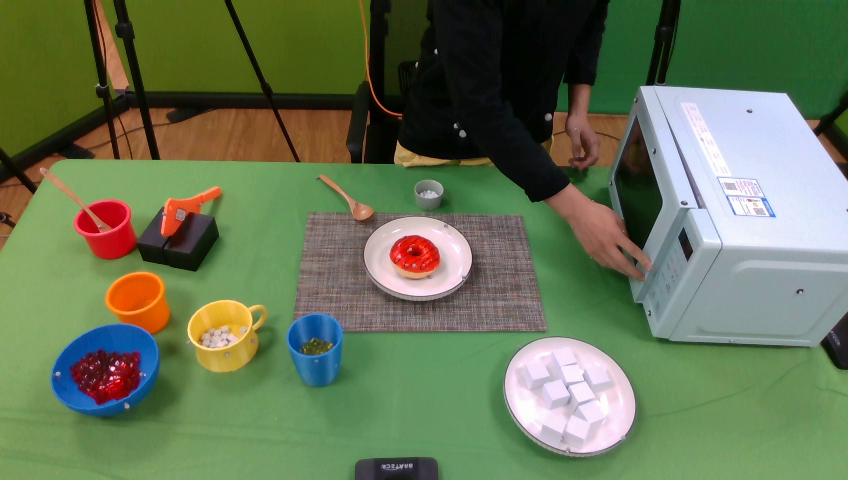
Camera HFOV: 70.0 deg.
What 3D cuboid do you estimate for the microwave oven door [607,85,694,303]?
[{"bbox_3d":[0.416,-0.094,1.141,0.039,0.245,0.353,4,46,1],"label":"microwave oven door"}]

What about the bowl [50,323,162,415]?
[{"bbox_3d":[-0.472,0.209,0.924,0.151,0.077,0.150,3,45,-2],"label":"bowl"}]

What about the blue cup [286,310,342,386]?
[{"bbox_3d":[-0.169,0.179,0.958,0.093,0.101,0.092,1,44,-1],"label":"blue cup"}]

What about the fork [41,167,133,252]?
[{"bbox_3d":[-0.624,-0.055,1.121,0.208,0.018,0.028,50,51,-15],"label":"fork"}]

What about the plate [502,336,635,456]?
[{"bbox_3d":[0.225,0.248,0.963,0.208,0.039,0.206,2,46,-2],"label":"plate"}]

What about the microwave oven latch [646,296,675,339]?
[{"bbox_3d":[0.413,0.134,1.061,0.030,0.029,0.078,4,45,1],"label":"microwave oven latch"}]

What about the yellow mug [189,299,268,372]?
[{"bbox_3d":[-0.315,0.148,1.002,0.131,0.064,0.099,-32,56,-31],"label":"yellow mug"}]

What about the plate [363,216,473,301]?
[{"bbox_3d":[-0.011,0.038,1.144,0.209,0.038,0.208,2,46,-2],"label":"plate"}]

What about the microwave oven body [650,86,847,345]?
[{"bbox_3d":[0.568,-0.053,1.118,0.326,0.261,0.439,2,45,-1],"label":"microwave oven body"}]

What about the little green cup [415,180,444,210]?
[{"bbox_3d":[0.011,-0.094,1.278,0.061,0.039,0.061,2,48,-2],"label":"little green cup"}]

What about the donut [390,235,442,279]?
[{"bbox_3d":[-0.016,0.032,1.135,0.099,0.048,0.098,3,44,-3],"label":"donut"}]

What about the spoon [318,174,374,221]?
[{"bbox_3d":[-0.168,-0.095,1.274,0.041,0.022,0.192,-40,57,-12],"label":"spoon"}]

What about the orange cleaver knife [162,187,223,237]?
[{"bbox_3d":[-0.448,-0.058,1.181,0.012,0.077,0.211,13,17,6],"label":"orange cleaver knife"}]
